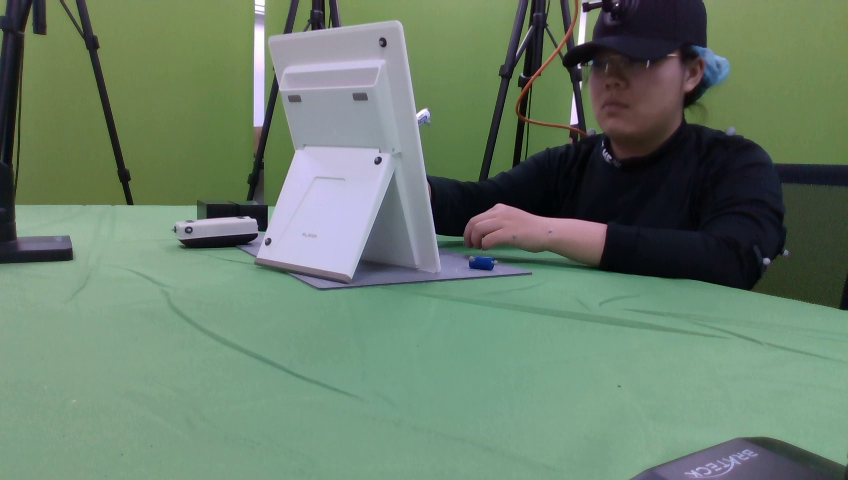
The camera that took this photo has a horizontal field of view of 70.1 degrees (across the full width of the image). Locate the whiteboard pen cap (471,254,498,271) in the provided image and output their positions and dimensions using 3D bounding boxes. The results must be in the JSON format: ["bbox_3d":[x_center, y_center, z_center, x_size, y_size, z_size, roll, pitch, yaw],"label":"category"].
[{"bbox_3d":[0.080,0.031,0.799,0.033,0.018,0.018,19,2,-17],"label":"whiteboard pen cap"}]

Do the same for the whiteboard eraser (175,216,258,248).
[{"bbox_3d":[-0.314,-0.012,0.914,0.113,0.042,0.055,-5,12,-30],"label":"whiteboard eraser"}]

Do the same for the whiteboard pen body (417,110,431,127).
[{"bbox_3d":[-0.024,-0.143,0.788,0.017,0.017,0.141,6,31,24],"label":"whiteboard pen body"}]

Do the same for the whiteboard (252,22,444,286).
[{"bbox_3d":[-0.125,-0.081,0.714,0.216,0.305,0.144,9,29,36],"label":"whiteboard"}]
